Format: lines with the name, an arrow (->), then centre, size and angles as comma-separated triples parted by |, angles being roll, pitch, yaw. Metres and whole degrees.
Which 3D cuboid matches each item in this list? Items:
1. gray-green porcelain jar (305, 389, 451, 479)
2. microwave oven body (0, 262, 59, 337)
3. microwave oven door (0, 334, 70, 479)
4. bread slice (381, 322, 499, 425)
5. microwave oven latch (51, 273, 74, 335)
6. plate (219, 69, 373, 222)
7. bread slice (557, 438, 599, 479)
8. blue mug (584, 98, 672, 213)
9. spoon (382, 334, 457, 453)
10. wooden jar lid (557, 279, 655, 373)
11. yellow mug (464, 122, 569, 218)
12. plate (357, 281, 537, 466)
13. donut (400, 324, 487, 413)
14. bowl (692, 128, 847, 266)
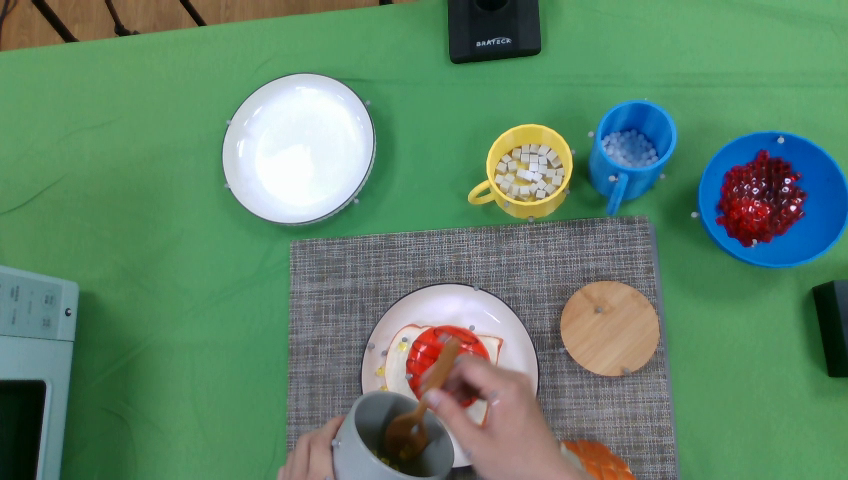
gray-green porcelain jar -> -0.050, 0.223, 0.569 | 0.105, 0.106, 0.127 | 36, 111, 15
microwave oven body -> -0.637, 0.242, 0.679 | 0.325, 0.261, 0.439 | -3, 78, 8
microwave oven door -> -0.494, 0.276, 0.643 | 0.039, 0.245, 0.354 | -3, 77, 9
bread slice -> 0.014, 0.151, 0.711 | 0.131, 0.019, 0.104 | 10, 79, 8
microwave oven latch -> -0.477, 0.083, 0.786 | 0.030, 0.029, 0.079 | 0, 79, 9
plate -> -0.165, -0.122, 0.798 | 0.207, 0.039, 0.206 | -2, 78, 9
bread slice -> 0.154, 0.262, 0.616 | 0.018, 0.135, 0.106 | 5, 76, 3
blue mug -> 0.225, -0.087, 0.692 | 0.082, 0.106, 0.116 | 17, 81, 13
spoon -> -0.002, 0.141, 0.533 | 0.041, 0.195, 0.021 | 24, 48, 2
wooden jar lid -> 0.208, 0.099, 0.696 | 0.108, 0.021, 0.108 | -2, 79, 9
yellow mug -> 0.109, -0.076, 0.729 | 0.131, 0.064, 0.099 | -25, 75, 5
plate -> 0.027, 0.152, 0.705 | 0.209, 0.038, 0.208 | -2, 78, 9
donut -> 0.022, 0.143, 0.680 | 0.099, 0.048, 0.098 | -1, 79, 6
bowl -> 0.369, -0.039, 0.673 | 0.151, 0.077, 0.150 | -2, 78, 9
